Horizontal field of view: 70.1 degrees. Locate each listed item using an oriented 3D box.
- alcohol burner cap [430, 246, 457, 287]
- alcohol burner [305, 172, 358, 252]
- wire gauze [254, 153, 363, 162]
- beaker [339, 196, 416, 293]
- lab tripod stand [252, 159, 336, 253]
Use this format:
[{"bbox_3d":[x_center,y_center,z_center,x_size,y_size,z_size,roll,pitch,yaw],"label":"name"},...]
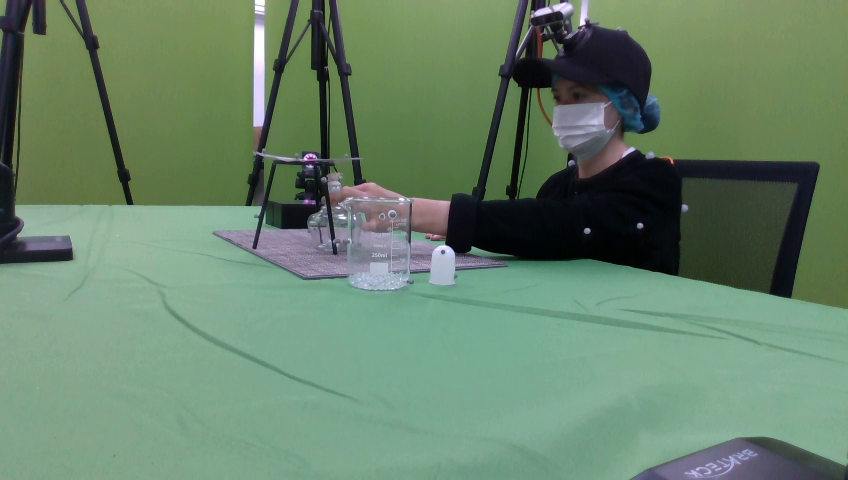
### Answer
[{"bbox_3d":[0.024,0.030,0.705,0.034,0.048,0.034,2,7,0],"label":"alcohol burner cap"},{"bbox_3d":[-0.138,-0.042,0.908,0.078,0.119,0.078,3,5,0],"label":"alcohol burner"},{"bbox_3d":[-0.172,-0.119,0.891,0.122,0.011,0.124,-2,7,-38],"label":"wire gauze"},{"bbox_3d":[-0.052,0.004,0.661,0.084,0.100,0.073,0,7,-18],"label":"beaker"},{"bbox_3d":[-0.180,-0.053,0.900,0.148,0.131,0.148,1,6,0],"label":"lab tripod stand"}]
